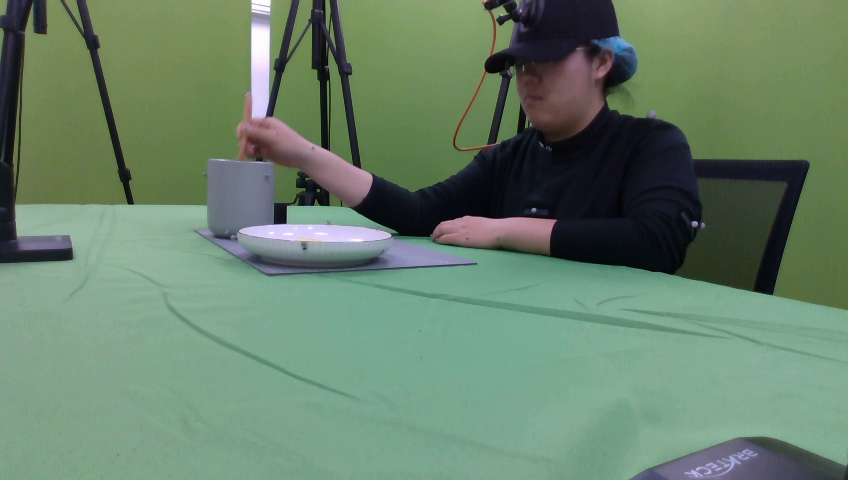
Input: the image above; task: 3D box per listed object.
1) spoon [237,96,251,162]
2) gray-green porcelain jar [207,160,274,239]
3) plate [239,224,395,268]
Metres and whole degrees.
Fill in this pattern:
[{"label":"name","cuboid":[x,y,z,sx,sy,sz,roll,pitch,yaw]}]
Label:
[{"label":"spoon","cuboid":[-0.311,-0.153,1.030,0.042,0.193,0.021,12,-7,-39]},{"label":"gray-green porcelain jar","cuboid":[-0.304,-0.068,1.004,0.106,0.126,0.106,3,7,0]},{"label":"plate","cuboid":[-0.144,0.007,0.823,0.208,0.039,0.207,3,7,0]}]
